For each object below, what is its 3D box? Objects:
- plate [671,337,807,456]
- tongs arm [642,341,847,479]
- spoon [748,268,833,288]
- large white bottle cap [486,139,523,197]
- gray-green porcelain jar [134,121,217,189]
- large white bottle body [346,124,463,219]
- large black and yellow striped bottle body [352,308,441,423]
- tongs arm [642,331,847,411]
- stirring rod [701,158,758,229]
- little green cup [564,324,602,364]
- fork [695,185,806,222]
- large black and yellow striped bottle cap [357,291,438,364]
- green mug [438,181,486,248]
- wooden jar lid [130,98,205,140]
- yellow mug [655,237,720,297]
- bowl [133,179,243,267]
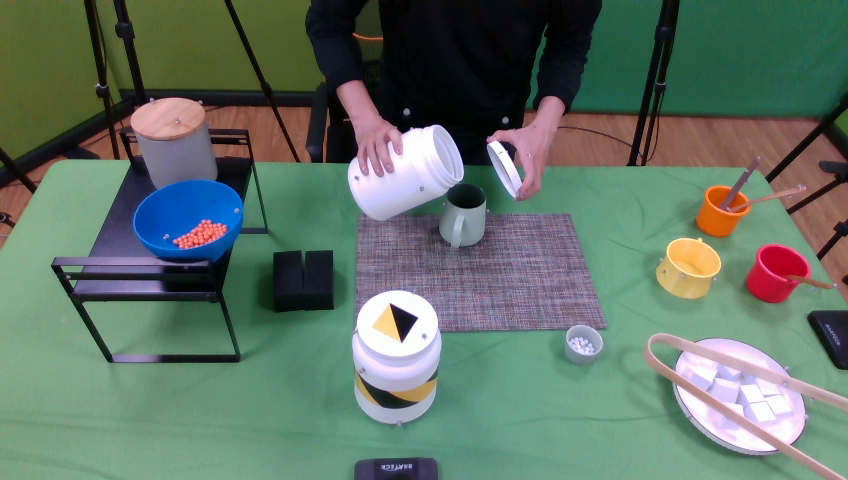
[{"bbox_3d":[0.504,0.254,0.984,0.208,0.039,0.206,2,46,-2],"label":"plate"},{"bbox_3d":[0.504,0.278,0.918,0.386,0.028,0.028,34,59,22],"label":"tongs arm"},{"bbox_3d":[0.660,0.068,1.097,0.041,0.193,0.021,-4,91,-6],"label":"spoon"},{"bbox_3d":[0.151,-0.135,1.140,0.018,0.115,0.114,-28,51,-1],"label":"large white bottle cap"},{"bbox_3d":[-0.397,-0.141,0.980,0.106,0.127,0.105,2,47,-2],"label":"gray-green porcelain jar"},{"bbox_3d":[-0.034,-0.127,1.108,0.184,0.131,0.130,-20,41,25],"label":"large white bottle body"},{"bbox_3d":[-0.042,0.177,0.913,0.131,0.185,0.130,2,46,-2],"label":"large black and yellow striped bottle body"},{"bbox_3d":[0.546,0.227,0.968,0.384,0.026,0.050,22,52,13],"label":"tongs arm"},{"bbox_3d":[0.634,-0.097,1.257,0.014,0.006,0.176,38,97,29],"label":"stirring rod"},{"bbox_3d":[0.269,0.179,1.035,0.061,0.039,0.061,2,46,-2],"label":"little green cup"},{"bbox_3d":[0.658,-0.074,1.230,0.207,0.019,0.028,-23,36,37],"label":"fork"},{"bbox_3d":[-0.037,0.121,0.851,0.115,0.019,0.114,1,46,-1],"label":"large black and yellow striped bottle cap"},{"bbox_3d":[0.072,-0.039,1.177,0.092,0.105,0.124,12,47,7],"label":"green mug"},{"bbox_3d":[-0.393,-0.183,0.934,0.108,0.021,0.107,3,44,-2],"label":"wooden jar lid"},{"bbox_3d":[0.509,0.041,1.167,0.099,0.064,0.130,24,48,18],"label":"yellow mug"},{"bbox_3d":[-0.339,-0.013,0.895,0.151,0.077,0.150,2,46,-2],"label":"bowl"}]
